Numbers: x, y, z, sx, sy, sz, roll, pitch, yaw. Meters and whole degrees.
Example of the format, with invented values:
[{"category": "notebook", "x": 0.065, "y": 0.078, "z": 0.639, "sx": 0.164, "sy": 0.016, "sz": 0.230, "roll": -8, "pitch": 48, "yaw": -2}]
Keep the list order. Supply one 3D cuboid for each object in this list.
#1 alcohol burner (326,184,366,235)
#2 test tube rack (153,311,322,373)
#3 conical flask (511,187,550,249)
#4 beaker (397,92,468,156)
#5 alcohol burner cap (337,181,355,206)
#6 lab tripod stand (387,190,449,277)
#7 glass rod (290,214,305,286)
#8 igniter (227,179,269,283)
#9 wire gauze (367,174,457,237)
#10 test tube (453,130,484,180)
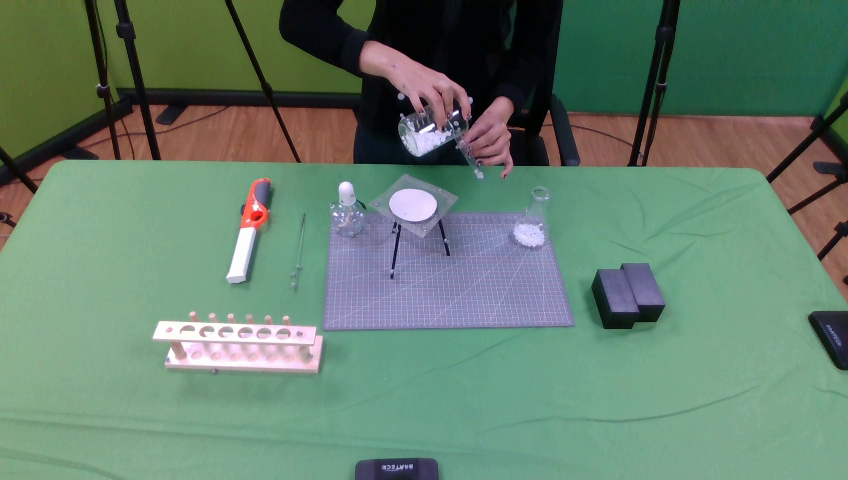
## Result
[{"category": "alcohol burner", "x": -0.152, "y": -0.066, "z": 1.184, "sx": 0.078, "sy": 0.119, "sz": 0.077, "roll": 4, "pitch": 46, "yaw": -4}, {"category": "test tube rack", "x": -0.293, "y": 0.160, "z": 0.978, "sx": 0.242, "sy": 0.085, "sz": 0.066, "roll": 3, "pitch": 46, "yaw": -2}, {"category": "conical flask", "x": 0.217, "y": -0.048, "z": 1.190, "sx": 0.075, "sy": 0.122, "sz": 0.075, "roll": 2, "pitch": 46, "yaw": -2}, {"category": "beaker", "x": 0.013, "y": -0.190, "z": 1.020, "sx": 0.100, "sy": 0.084, "sz": 0.073, "roll": -31, "pitch": 50, "yaw": -17}, {"category": "alcohol burner cap", "x": -0.151, "y": -0.090, "z": 1.157, "sx": 0.034, "sy": 0.048, "sz": 0.033, "roll": 0, "pitch": 52, "yaw": 0}, {"category": "lab tripod stand", "x": -0.021, "y": -0.018, "z": 1.135, "sx": 0.148, "sy": 0.132, "sz": 0.147, "roll": 3, "pitch": 44, "yaw": -3}, {"category": "glass rod", "x": -0.245, "y": 0.015, "z": 1.175, "sx": 0.008, "sy": 0.008, "sz": 0.198, "roll": 1, "pitch": 43, "yaw": -3}, {"category": "igniter", "x": -0.345, "y": -0.027, "z": 1.195, "sx": 0.057, "sy": 0.025, "sz": 0.274, "roll": -6, "pitch": 46, "yaw": 5}, {"category": "wire gauze", "x": -0.021, "y": -0.067, "z": 1.088, "sx": 0.124, "sy": 0.011, "sz": 0.121, "roll": 28, "pitch": 49, "yaw": 21}, {"category": "test tube", "x": 0.083, "y": -0.154, "z": 1.123, "sx": 0.017, "sy": 0.151, "sz": 0.017, "roll": -10, "pitch": 60, "yaw": 19}]
